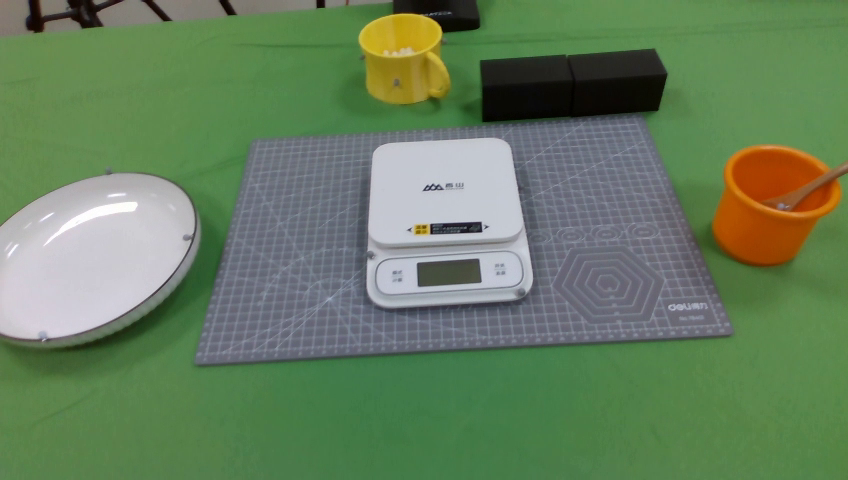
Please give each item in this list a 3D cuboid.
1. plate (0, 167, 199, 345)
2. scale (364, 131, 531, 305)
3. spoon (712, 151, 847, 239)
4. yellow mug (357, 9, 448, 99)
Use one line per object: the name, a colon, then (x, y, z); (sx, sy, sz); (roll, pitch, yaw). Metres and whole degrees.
plate: (-0.316, 0.013, 0.574); (0.209, 0.038, 0.207); (-2, 49, 2)
scale: (0.018, -0.029, 0.584); (0.148, 0.032, 0.199); (-4, 49, 2)
spoon: (0.337, -0.055, 0.508); (0.022, 0.194, 0.041); (25, 43, -34)
yellow mug: (-0.018, -0.222, 0.737); (0.100, 0.064, 0.129); (-38, 57, -25)
